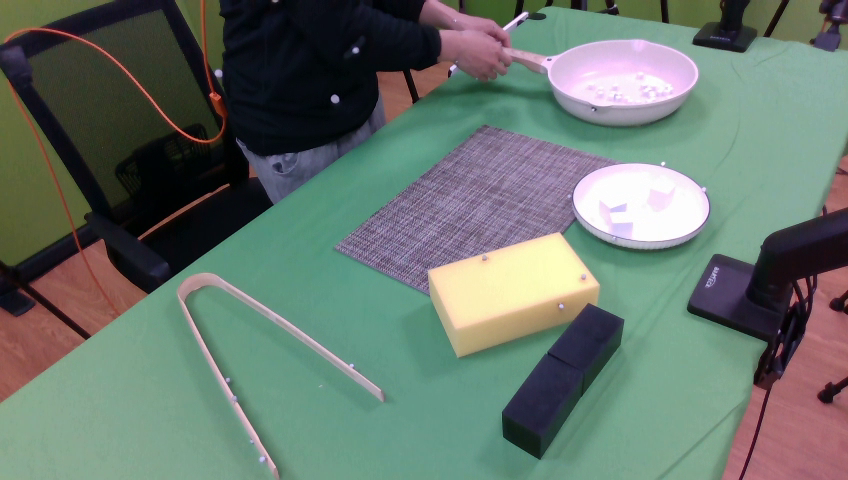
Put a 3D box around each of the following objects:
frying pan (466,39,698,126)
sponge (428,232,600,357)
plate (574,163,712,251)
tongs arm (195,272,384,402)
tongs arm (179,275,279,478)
[{"bbox_3d":[0.312,-0.359,1.277,0.485,0.103,0.307,23,47,19],"label":"frying pan"},{"bbox_3d":[0.120,0.071,0.834,0.207,0.061,0.117,-15,43,-12],"label":"sponge"},{"bbox_3d":[0.345,-0.050,0.966,0.207,0.039,0.206,-4,40,4],"label":"plate"},{"bbox_3d":[-0.199,0.125,0.846,0.384,0.028,0.028,25,53,32],"label":"tongs arm"},{"bbox_3d":[-0.260,0.161,0.807,0.051,0.026,0.381,-29,44,-25],"label":"tongs arm"}]
